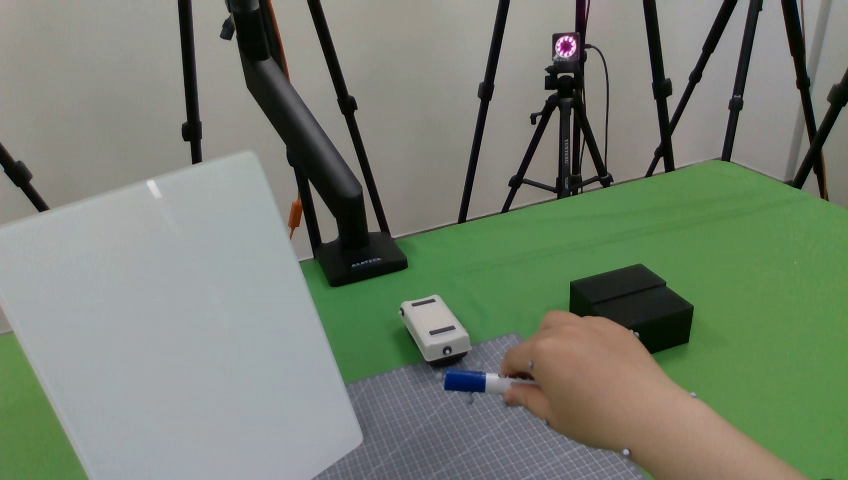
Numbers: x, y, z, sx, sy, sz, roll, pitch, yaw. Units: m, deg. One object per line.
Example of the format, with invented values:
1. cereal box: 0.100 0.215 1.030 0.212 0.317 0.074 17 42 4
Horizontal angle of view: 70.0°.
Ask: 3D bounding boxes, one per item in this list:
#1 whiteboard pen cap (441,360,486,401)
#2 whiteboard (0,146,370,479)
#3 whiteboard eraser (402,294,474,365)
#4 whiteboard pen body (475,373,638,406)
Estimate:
1. whiteboard pen cap: 0.030 0.108 0.461 0.033 0.018 0.018 -36 36 -13
2. whiteboard: -0.218 0.098 0.554 0.217 0.306 0.143 -27 15 -34
3. whiteboard eraser: 0.014 0.106 0.721 0.056 0.042 0.111 -15 25 -13
4. whiteboard pen body: 0.092 0.113 0.461 0.141 0.017 0.017 5 28 2
